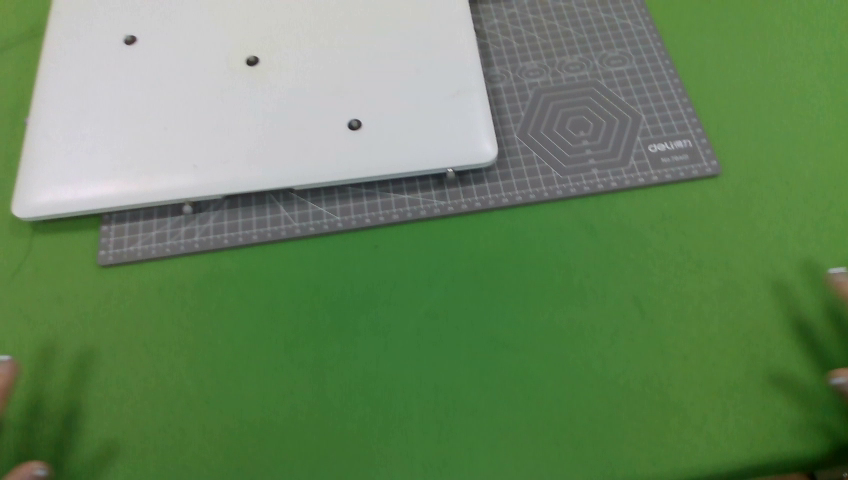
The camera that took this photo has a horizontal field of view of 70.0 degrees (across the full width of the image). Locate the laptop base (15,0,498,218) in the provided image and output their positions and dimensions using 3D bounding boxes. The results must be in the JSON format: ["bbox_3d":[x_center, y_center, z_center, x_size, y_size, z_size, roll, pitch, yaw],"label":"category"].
[{"bbox_3d":[-0.132,-0.137,0.490,0.354,0.023,0.233,-7,66,-1],"label":"laptop base"}]

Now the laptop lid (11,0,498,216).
[{"bbox_3d":[-0.132,-0.141,0.479,0.357,0.013,0.239,-5,65,0],"label":"laptop lid"}]
